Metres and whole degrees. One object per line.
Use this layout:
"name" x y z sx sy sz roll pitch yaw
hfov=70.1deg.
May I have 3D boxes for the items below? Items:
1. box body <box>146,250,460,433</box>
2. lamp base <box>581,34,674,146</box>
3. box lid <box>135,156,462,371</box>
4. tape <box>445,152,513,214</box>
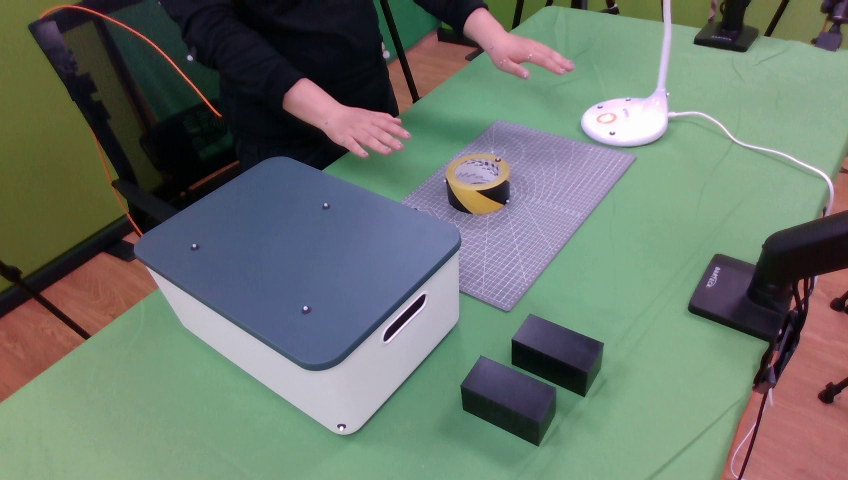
"box body" -0.156 0.058 0.814 0.361 0.161 0.255 24 49 31
"lamp base" 0.392 -0.291 1.129 0.180 0.181 0.159 -11 41 -8
"box lid" -0.162 0.004 0.765 0.368 0.015 0.264 24 49 31
"tape" 0.095 -0.099 1.042 0.117 0.053 0.116 -4 41 4
